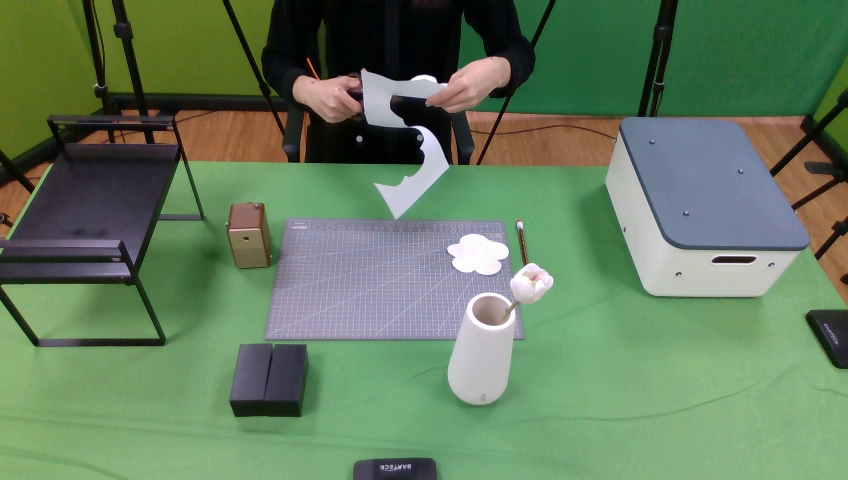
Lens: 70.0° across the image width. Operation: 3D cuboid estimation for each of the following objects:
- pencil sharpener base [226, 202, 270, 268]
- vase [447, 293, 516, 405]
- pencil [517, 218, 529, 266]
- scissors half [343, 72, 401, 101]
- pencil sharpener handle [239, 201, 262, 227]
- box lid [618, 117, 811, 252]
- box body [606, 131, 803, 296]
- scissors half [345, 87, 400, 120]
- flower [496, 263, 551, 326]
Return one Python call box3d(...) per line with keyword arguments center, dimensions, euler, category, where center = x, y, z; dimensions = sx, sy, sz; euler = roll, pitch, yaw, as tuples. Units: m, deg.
box3d(center=(-0.323, -0.010, 1.123), dimensions=(0.061, 0.107, 0.076), euler=(-3, 46, -7), category="pencil sharpener base")
box3d(center=(0.091, 0.169, 0.921), dimensions=(0.098, 0.201, 0.097), euler=(3, 47, -3), category="vase")
box3d(center=(0.200, 0.027, 1.196), dimensions=(0.012, 0.012, 0.193), euler=(1, 48, -3), category="pencil")
box3d(center=(-0.094, -0.269, 1.076), dimensions=(0.013, 0.040, 0.174), euler=(-18, 34, -35), category="scissors half")
box3d(center=(-0.325, -0.055, 1.150), dimensions=(0.036, 0.068, 0.030), euler=(-13, 46, 3), category="pencil sharpener handle")
box3d(center=(0.534, -0.117, 1.149), dimensions=(0.263, 0.015, 0.369), euler=(0, 47, -3), category="box lid")
box3d(center=(0.530, -0.067, 1.204), dimensions=(0.254, 0.161, 0.361), euler=(1, 46, -4), category="box body")
box3d(center=(-0.093, -0.247, 1.081), dimensions=(0.013, 0.040, 0.175), euler=(-12, 2, -37), category="scissors half")
box3d(center=(0.102, 0.120, 0.853), dimensions=(0.044, 0.363, 0.038), euler=(-2, 64, -10), category="flower")
